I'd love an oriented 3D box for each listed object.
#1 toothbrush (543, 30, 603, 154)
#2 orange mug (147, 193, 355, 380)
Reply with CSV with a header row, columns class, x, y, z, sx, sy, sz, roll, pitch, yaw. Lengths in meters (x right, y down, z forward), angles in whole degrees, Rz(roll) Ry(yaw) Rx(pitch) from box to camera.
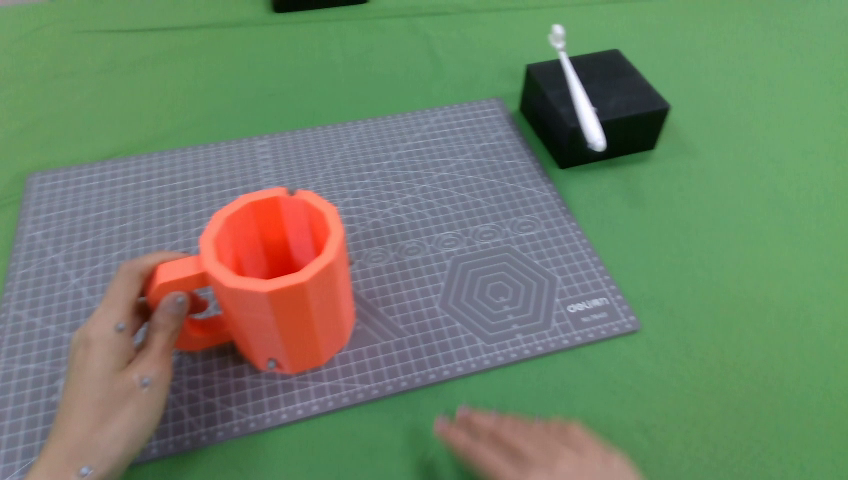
class,x,y,z,sx,sy,sz,roll,pitch,yaw
toothbrush,0.135,-0.141,0.556,0.014,0.017,0.180,-1,49,-6
orange mug,-0.110,0.036,0.401,0.126,0.101,0.082,-12,50,-17
